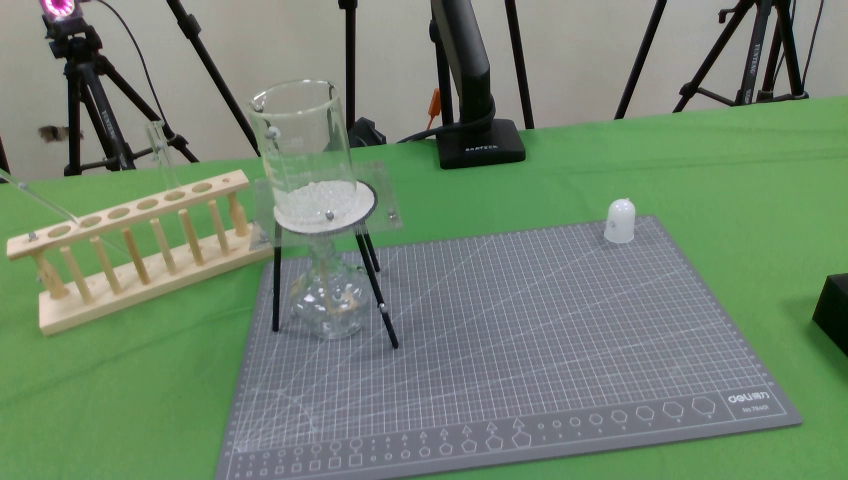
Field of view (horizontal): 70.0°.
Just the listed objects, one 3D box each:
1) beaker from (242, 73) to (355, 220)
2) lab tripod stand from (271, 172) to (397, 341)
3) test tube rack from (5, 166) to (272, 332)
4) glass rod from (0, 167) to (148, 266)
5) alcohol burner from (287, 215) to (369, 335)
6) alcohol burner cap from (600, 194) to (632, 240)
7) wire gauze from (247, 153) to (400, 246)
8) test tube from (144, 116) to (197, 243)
[{"bbox_3d":[-0.100,-0.074,0.493,0.083,0.101,0.073,12,39,25],"label":"beaker"},{"bbox_3d":[-0.084,0.017,0.562,0.148,0.133,0.147,-4,38,4],"label":"lab tripod stand"},{"bbox_3d":[-0.300,0.004,0.657,0.243,0.086,0.066,-21,38,-20],"label":"test tube rack"},{"bbox_3d":[-0.362,-0.027,0.612,0.008,0.202,0.008,-21,45,24],"label":"glass rod"},{"bbox_3d":[-0.092,0.029,0.562,0.078,0.120,0.077,-4,34,3],"label":"alcohol burner"},{"bbox_3d":[0.211,-0.028,0.660,0.034,0.048,0.033,-4,36,3],"label":"alcohol burner cap"},{"bbox_3d":[-0.090,-0.036,0.523,0.125,0.011,0.120,-12,34,-4],"label":"wire gauze"},{"bbox_3d":[-0.274,-0.061,0.658,0.017,0.151,0.017,-3,33,2],"label":"test tube"}]
